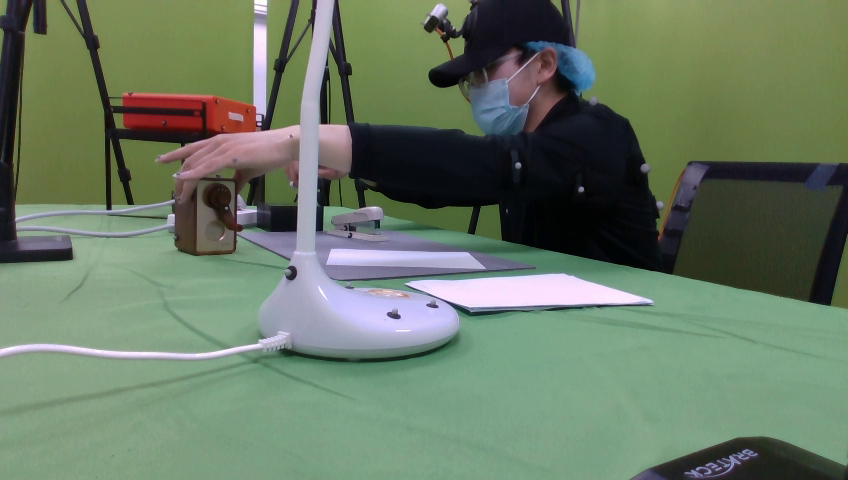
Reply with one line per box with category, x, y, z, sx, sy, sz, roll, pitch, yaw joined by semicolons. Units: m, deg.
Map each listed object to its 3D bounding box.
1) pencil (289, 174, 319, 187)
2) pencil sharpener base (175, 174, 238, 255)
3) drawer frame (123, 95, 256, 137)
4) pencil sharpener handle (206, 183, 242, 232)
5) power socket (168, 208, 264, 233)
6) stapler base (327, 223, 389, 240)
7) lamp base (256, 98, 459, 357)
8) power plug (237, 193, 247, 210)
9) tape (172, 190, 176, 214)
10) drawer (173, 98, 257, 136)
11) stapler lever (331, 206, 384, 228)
pencil;-0.218;-0.108;1.096;0.012;0.012;0.193;-2;1;-26
pencil sharpener base;-0.304;-0.036;0.848;0.062;0.107;0.076;-2;9;-44
drawer frame;-0.524;-0.281;1.376;0.213;0.082;0.202;3;8;8
pencil sharpener handle;-0.264;-0.043;0.814;0.036;0.068;0.030;-29;26;-37
power socket;-0.381;-0.038;1.129;0.072;0.032;0.227;4;8;17
stapler base;-0.117;-0.019;1.072;0.130;0.024;0.041;7;8;41
lamp base;-0.055;-0.013;0.463;0.160;0.180;0.180;6;11;27
power plug;-0.386;-0.071;1.204;0.072;0.052;0.035;6;8;26
tape;-0.515;-0.087;1.388;0.117;0.052;0.117;3;7;0
drawer;-0.518;-0.279;1.376;0.211;0.073;0.195;3;8;9
stapler lever;-0.118;-0.043;1.070;0.117;0.040;0.027;7;8;41
